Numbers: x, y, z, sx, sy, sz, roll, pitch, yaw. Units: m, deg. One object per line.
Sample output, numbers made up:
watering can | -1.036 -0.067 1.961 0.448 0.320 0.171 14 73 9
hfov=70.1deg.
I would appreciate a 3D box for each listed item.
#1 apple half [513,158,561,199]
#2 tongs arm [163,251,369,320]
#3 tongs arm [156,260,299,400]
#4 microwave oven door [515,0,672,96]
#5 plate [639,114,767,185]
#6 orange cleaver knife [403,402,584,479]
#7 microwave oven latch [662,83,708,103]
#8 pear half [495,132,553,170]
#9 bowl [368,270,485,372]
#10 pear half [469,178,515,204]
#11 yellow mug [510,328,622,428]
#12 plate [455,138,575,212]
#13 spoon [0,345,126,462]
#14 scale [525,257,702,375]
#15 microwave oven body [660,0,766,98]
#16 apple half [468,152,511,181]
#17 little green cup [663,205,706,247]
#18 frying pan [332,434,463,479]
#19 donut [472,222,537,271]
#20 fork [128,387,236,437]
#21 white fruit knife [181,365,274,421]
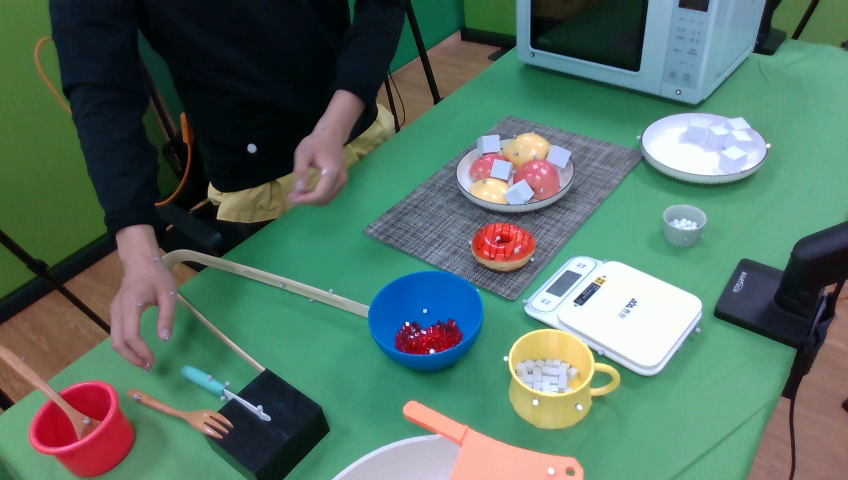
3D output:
apple half | 0.193 -0.111 1.031 0.080 0.053 0.075 11 41 26
tongs arm | -0.247 0.072 0.917 0.382 0.026 0.051 16 47 27
tongs arm | -0.295 0.120 0.868 0.384 0.028 0.028 28 57 36
microwave oven door | 0.343 -0.455 1.259 0.353 0.245 0.039 26 51 33
plate | 0.489 -0.157 1.074 0.207 0.039 0.206 -4 40 4
orange cleaver knife | 0.062 0.222 0.609 0.210 0.012 0.077 15 48 25
microwave oven latch | 0.517 -0.296 1.204 0.078 0.029 0.030 28 52 35
pear half | 0.174 -0.167 1.094 0.109 0.056 0.076 15 53 30
bowl | 0.007 0.118 0.791 0.151 0.077 0.150 -5 40 4
pear half | 0.115 -0.090 1.036 0.087 0.031 0.071 28 38 32
yellow mug | 0.168 0.164 0.722 0.130 0.064 0.099 0 40 8
plate | 0.159 -0.111 1.063 0.209 0.038 0.208 -4 40 4
spoon | -0.434 0.192 0.720 0.194 0.021 0.042 47 53 -6
scale | 0.254 0.091 0.821 0.199 0.032 0.149 28 51 35
microwave oven body | 0.472 -0.513 1.317 0.438 0.261 0.327 26 51 34
apple half | 0.119 -0.138 1.087 0.081 0.033 0.081 -1 45 1
little green cup | 0.396 -0.020 0.926 0.061 0.039 0.061 -4 40 4
frying pan | -0.089 0.306 0.564 0.487 0.103 0.306 10 41 7
donut | 0.123 0.008 0.923 0.099 0.048 0.098 -3 38 3
fork | -0.305 0.207 0.744 0.206 0.019 0.028 3 41 36
white fruit knife | -0.245 0.187 0.747 0.205 0.027 0.016 9 42 41
